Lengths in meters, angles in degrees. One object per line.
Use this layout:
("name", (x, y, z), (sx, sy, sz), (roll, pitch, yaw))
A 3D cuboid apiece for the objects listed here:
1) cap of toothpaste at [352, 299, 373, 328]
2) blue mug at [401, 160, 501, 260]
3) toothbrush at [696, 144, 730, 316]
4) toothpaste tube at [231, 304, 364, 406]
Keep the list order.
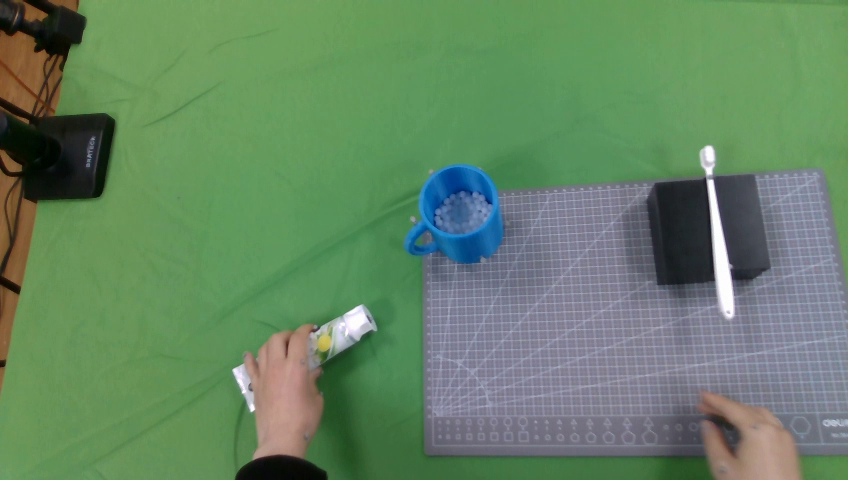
("cap of toothpaste", (-0.069, 0.084, 0.684), (0.011, 0.037, 0.037), (-30, 72, 0))
("blue mug", (0.027, -0.022, 0.666), (0.116, 0.106, 0.082), (-30, 72, 1))
("toothbrush", (0.294, -0.014, 0.614), (0.014, 0.017, 0.181), (-1, 75, 4))
("toothpaste tube", (-0.138, 0.122, 0.685), (0.165, 0.035, 0.054), (-30, 70, 0))
